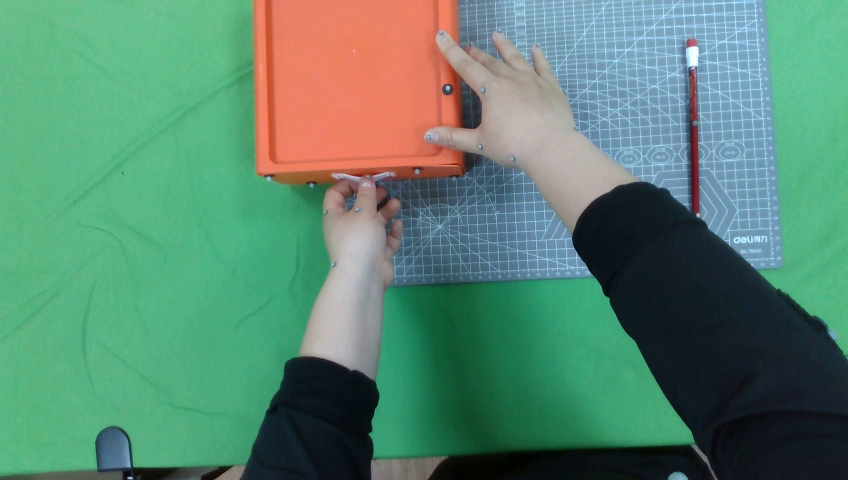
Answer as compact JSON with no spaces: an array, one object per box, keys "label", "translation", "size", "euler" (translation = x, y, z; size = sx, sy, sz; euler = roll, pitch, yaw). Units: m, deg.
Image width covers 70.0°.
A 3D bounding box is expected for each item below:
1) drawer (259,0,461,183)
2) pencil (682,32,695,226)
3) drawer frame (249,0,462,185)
[{"label":"drawer","translation":[-0.065,-0.166,0.610],"size":[0.194,0.073,0.211],"euler":[-3,88,6]},{"label":"pencil","translation":[0.268,-0.111,0.611],"size":[0.012,0.012,0.194],"euler":[-1,91,6]},{"label":"drawer frame","translation":[-0.068,-0.168,0.610],"size":[0.201,0.083,0.213],"euler":[-4,87,7]}]
